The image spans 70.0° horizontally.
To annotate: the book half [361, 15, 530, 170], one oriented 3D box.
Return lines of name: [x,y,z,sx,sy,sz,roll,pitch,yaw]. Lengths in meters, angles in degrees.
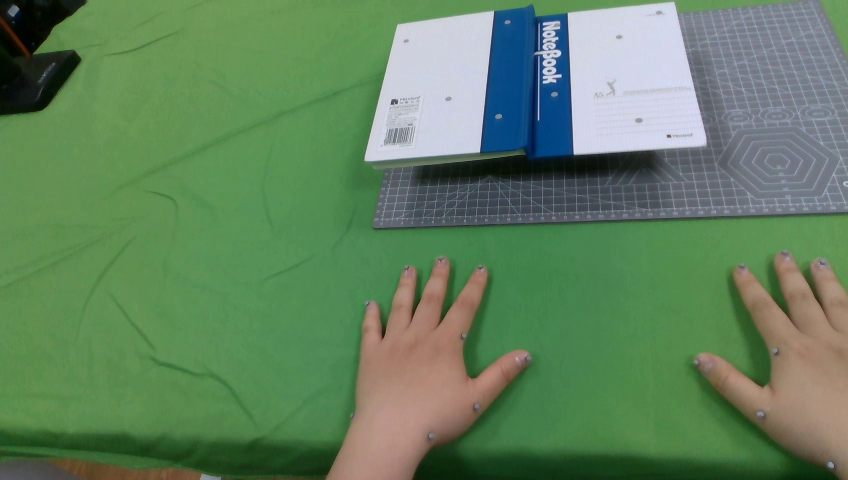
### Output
book half: [0.027,-0.147,0.591,0.148,0.016,0.208,-2,52,14]

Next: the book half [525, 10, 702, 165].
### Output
book half: [0.168,-0.148,0.565,0.143,0.007,0.208,-2,51,12]
